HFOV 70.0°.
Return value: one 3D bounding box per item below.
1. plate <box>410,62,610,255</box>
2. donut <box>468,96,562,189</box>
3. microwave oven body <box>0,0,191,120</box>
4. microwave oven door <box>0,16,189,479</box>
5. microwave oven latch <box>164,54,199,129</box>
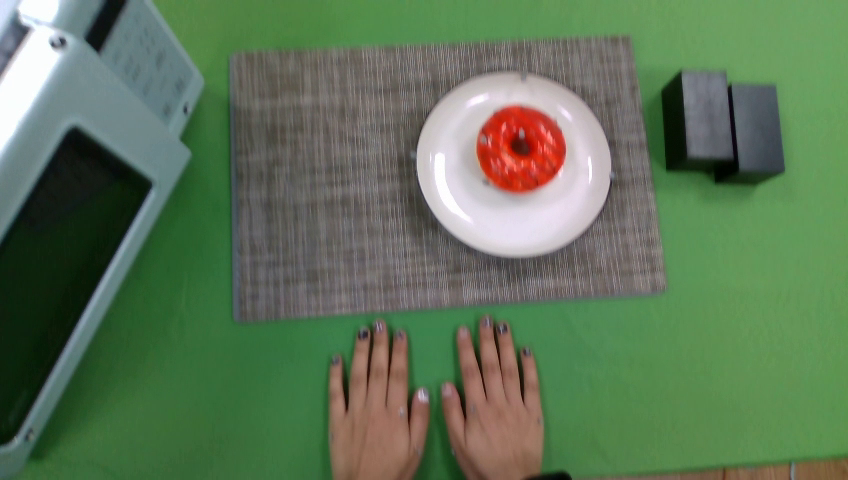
[{"bbox_3d":[0.089,-0.084,0.642,0.209,0.038,0.208,1,80,-4],"label":"plate"},{"bbox_3d":[0.095,-0.101,0.634,0.099,0.048,0.098,1,82,-5],"label":"donut"},{"bbox_3d":[-0.453,-0.059,0.492,0.326,0.260,0.440,21,81,-1],"label":"microwave oven body"},{"bbox_3d":[-0.321,0.034,0.480,0.039,0.244,0.355,23,80,1],"label":"microwave oven door"},{"bbox_3d":[-0.258,-0.153,0.618,0.030,0.029,0.079,21,81,0],"label":"microwave oven latch"}]
